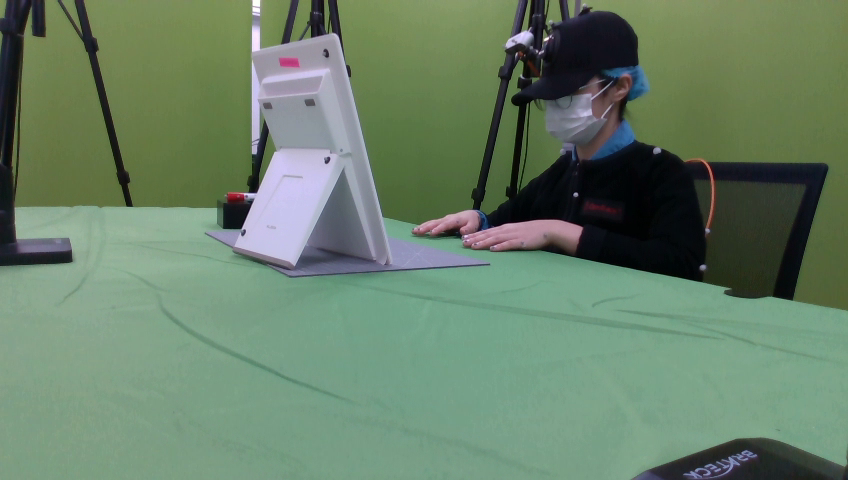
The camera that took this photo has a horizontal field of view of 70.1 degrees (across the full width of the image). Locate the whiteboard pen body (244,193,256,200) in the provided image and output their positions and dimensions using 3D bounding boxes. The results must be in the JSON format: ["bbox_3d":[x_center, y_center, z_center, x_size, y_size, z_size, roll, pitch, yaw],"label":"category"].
[{"bbox_3d":[-0.327,-0.089,1.246,0.141,0.017,0.017,-1,8,-30],"label":"whiteboard pen body"}]

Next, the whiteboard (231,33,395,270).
[{"bbox_3d":[-0.193,-0.094,0.805,0.144,0.305,0.216,-28,25,-35],"label":"whiteboard"}]

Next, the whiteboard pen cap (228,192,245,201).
[{"bbox_3d":[-0.377,-0.088,1.217,0.032,0.017,0.017,0,7,-29],"label":"whiteboard pen cap"}]
